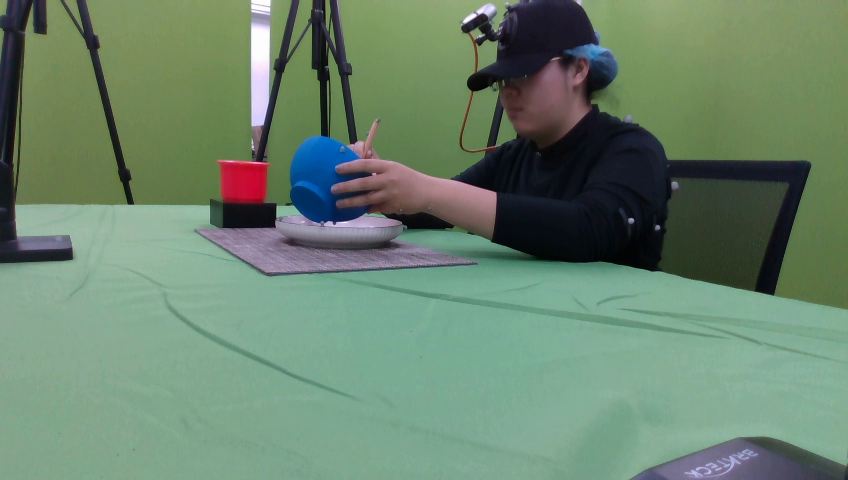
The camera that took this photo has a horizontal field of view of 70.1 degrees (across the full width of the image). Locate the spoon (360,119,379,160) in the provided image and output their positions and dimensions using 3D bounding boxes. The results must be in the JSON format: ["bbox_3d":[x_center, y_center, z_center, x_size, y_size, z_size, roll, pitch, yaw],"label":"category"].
[{"bbox_3d":[-0.113,-0.128,1.008,0.022,0.194,0.041,30,-28,-8],"label":"spoon"}]

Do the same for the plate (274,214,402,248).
[{"bbox_3d":[-0.140,-0.015,0.993,0.208,0.039,0.207,3,7,0],"label":"plate"}]

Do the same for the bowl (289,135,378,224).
[{"bbox_3d":[-0.155,-0.078,0.934,0.150,0.152,0.077,7,45,34],"label":"bowl"}]
